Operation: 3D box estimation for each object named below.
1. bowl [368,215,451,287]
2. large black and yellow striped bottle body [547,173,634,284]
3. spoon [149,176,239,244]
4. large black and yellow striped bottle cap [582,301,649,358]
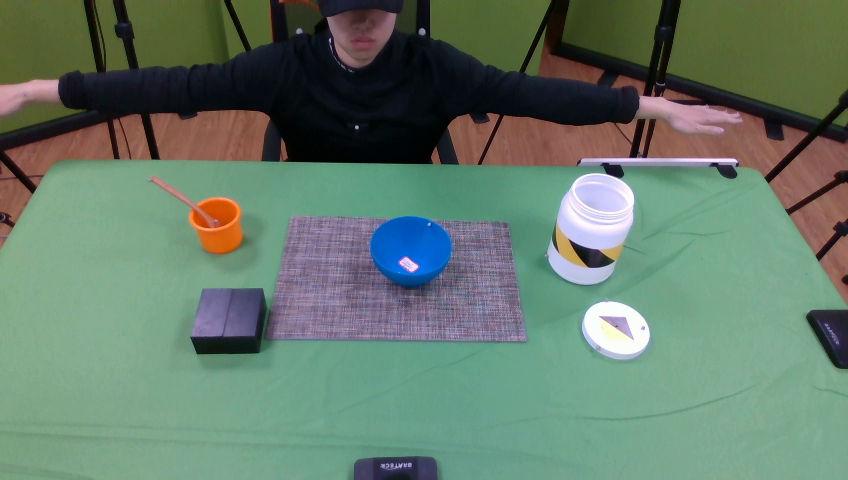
[{"bbox_3d":[-0.028,0.033,1.120,0.151,0.077,0.150,2,46,-2],"label":"bowl"},{"bbox_3d":[0.309,-0.022,1.129,0.131,0.185,0.130,2,46,-2],"label":"large black and yellow striped bottle body"},{"bbox_3d":[-0.427,-0.057,1.132,0.021,0.195,0.041,-27,31,34],"label":"spoon"},{"bbox_3d":[0.340,0.157,1.077,0.115,0.019,0.114,1,47,-1],"label":"large black and yellow striped bottle cap"}]
